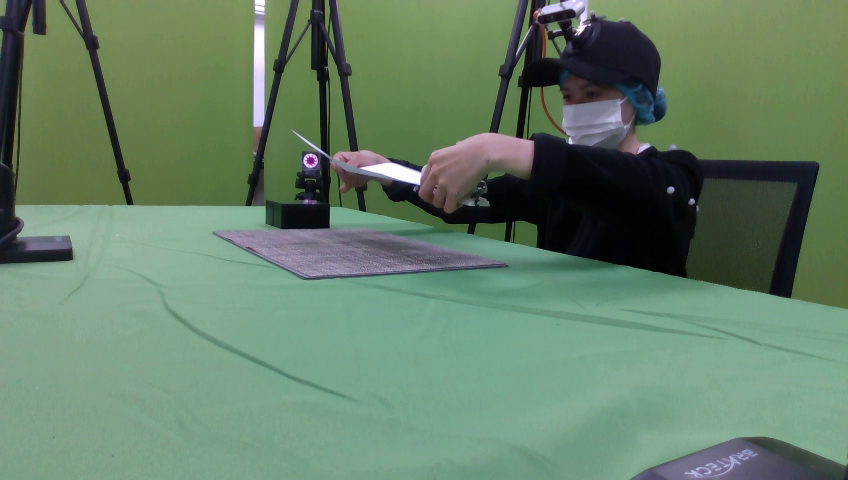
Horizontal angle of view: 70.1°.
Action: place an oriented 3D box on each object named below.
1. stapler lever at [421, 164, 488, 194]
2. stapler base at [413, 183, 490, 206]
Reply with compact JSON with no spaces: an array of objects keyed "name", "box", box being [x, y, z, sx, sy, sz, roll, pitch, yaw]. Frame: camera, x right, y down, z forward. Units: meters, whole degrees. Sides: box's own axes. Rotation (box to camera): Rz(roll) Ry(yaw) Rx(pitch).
[{"name":"stapler lever","box":[0.041,-0.087,0.854,0.027,0.040,0.117,-4,8,-41]},{"name":"stapler base","box":[0.037,-0.071,0.857,0.041,0.024,0.130,-4,17,-41]}]
